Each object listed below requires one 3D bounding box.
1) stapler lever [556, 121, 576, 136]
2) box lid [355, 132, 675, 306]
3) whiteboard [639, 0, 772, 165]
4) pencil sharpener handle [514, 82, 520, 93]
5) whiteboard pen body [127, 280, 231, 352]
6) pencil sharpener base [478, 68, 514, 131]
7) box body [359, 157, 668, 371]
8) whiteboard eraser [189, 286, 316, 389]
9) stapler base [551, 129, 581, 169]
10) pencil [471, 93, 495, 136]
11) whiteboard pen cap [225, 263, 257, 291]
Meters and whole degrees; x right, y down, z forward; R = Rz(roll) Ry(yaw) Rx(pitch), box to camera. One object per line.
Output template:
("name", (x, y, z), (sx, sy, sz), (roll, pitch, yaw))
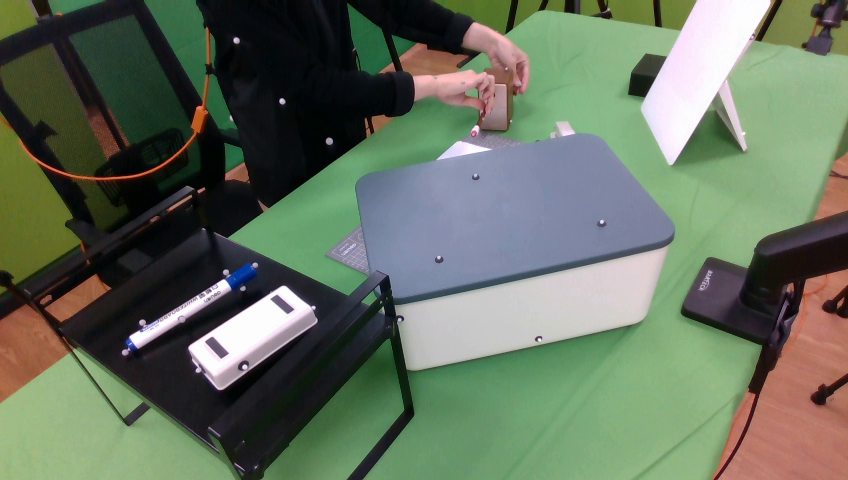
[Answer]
("stapler lever", (0.266, -0.198, 1.128), (0.027, 0.040, 0.117), (0, 38, 3))
("box lid", (0.103, -0.042, 0.785), (0.372, 0.015, 0.261), (-12, 41, -5))
("whiteboard", (0.543, -0.298, 1.076), (0.144, 0.305, 0.216), (12, 40, -7))
("pencil sharpener handle", (0.170, -0.331, 1.248), (0.068, 0.036, 0.030), (38, 41, -15))
("whiteboard pen body", (-0.248, 0.072, 0.645), (0.141, 0.017, 0.017), (-35, 47, -23))
("pencil sharpener base", (0.148, -0.286, 1.224), (0.061, 0.107, 0.076), (5, 41, 15))
("box body", (0.108, 0.014, 0.833), (0.365, 0.161, 0.252), (-11, 41, -5))
("whiteboard eraser", (-0.166, 0.096, 0.593), (0.113, 0.042, 0.055), (-36, 47, -29))
("stapler base", (0.268, -0.178, 1.142), (0.041, 0.024, 0.130), (0, 37, 3))
("pencil", (0.114, -0.241, 1.126), (0.012, 0.012, 0.194), (7, 38, 16))
("whiteboard pen cap", (-0.204, 0.041, 0.668), (0.033, 0.018, 0.018), (-36, 48, -22))
